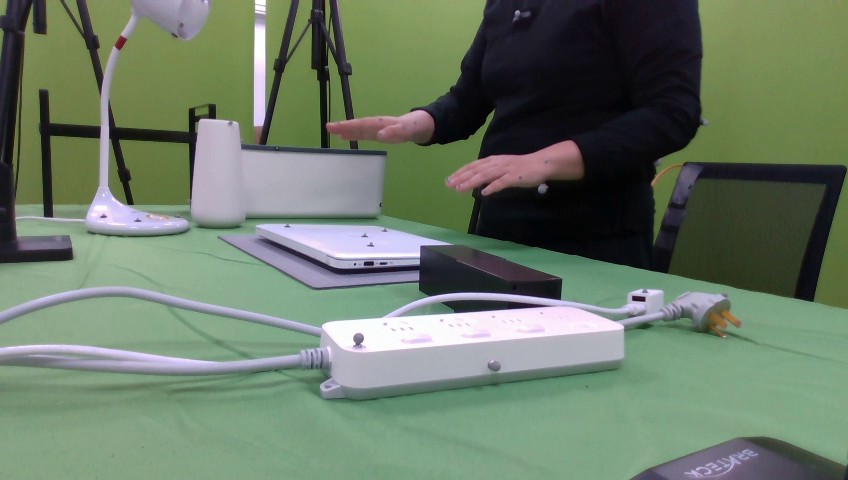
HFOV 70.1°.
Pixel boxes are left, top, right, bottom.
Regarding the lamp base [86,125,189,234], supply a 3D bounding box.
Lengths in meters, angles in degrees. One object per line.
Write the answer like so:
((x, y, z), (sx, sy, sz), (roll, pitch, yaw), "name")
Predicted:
((-0.497, -0.105, 1.027), (0.179, 0.180, 0.160), (1, 7, 2), "lamp base")

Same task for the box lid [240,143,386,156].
((-0.304, -0.217, 1.463), (0.373, 0.015, 0.262), (-2, 8, -30), "box lid")

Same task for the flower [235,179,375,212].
((-0.264, -0.092, 1.417), (0.364, 0.038, 0.044), (8, -42, -39), "flower")

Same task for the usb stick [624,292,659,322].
((0.211, 0.064, 0.581), (0.021, 0.027, 0.059), (-1, -4, 36), "usb stick")

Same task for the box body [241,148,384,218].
((-0.306, -0.144, 1.474), (0.366, 0.160, 0.253), (-1, 9, -30), "box body")

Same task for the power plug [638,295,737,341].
((0.235, 0.077, 0.535), (0.072, 0.035, 0.052), (-33, 39, -6), "power plug")

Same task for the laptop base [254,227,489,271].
((-0.096, 0.011, 0.911), (0.237, 0.023, 0.352), (2, 7, -32), "laptop base")

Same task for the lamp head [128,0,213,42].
((-0.423, -0.394, 0.980), (0.123, 0.112, 0.112), (20, 7, -3), "lamp head")

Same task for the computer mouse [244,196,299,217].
((-0.346, -0.077, 1.372), (0.118, 0.041, 0.062), (-11, 18, -33), "computer mouse")

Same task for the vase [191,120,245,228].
((-0.389, -0.124, 1.142), (0.098, 0.200, 0.098), (3, 9, 0), "vase")

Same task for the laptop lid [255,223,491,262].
((-0.093, 0.000, 0.911), (0.243, 0.013, 0.355), (1, 7, -30), "laptop lid")

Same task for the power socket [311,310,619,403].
((0.034, 0.074, 0.415), (0.228, 0.032, 0.072), (-1, 7, -24), "power socket")
